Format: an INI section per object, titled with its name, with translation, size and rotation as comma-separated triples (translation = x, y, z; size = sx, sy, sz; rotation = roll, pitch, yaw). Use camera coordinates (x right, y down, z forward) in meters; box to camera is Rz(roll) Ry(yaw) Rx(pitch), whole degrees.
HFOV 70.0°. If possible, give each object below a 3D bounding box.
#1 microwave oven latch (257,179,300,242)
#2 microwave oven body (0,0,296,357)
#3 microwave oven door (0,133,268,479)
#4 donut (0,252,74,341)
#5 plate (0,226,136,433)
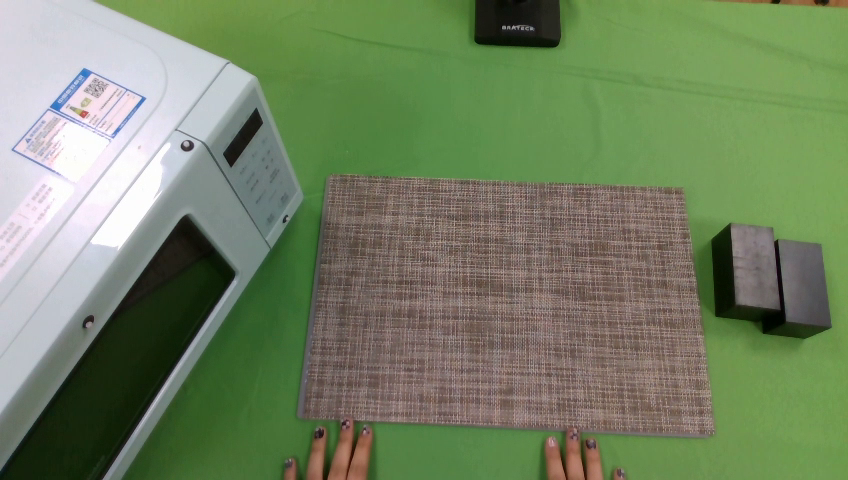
[microwave oven latch]
translation = -0.176, -0.039, 0.715
size = 0.030, 0.030, 0.079
rotation = 26, 71, 8
[microwave oven body]
translation = -0.388, 0.008, 0.588
size = 0.325, 0.262, 0.440
rotation = 26, 71, 8
[microwave oven door]
translation = -0.276, 0.103, 0.548
size = 0.039, 0.245, 0.354
rotation = 25, 70, 9
[donut]
translation = -0.410, 0.057, 0.618
size = 0.099, 0.048, 0.098
rotation = 2, 53, -2
[plate]
translation = -0.383, 0.087, 0.603
size = 0.209, 0.038, 0.207
rotation = -2, 66, 6
